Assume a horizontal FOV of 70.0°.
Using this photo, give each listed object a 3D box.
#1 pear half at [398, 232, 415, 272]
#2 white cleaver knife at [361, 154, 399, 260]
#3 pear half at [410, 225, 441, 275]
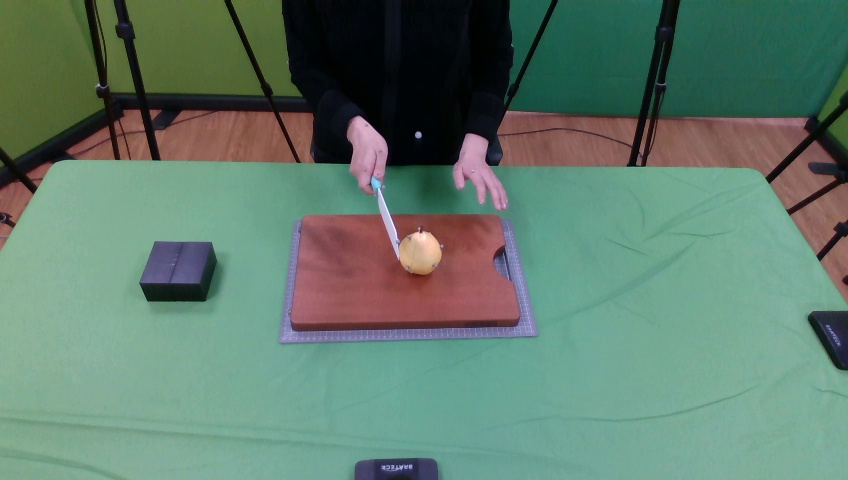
[{"bbox_3d":[-0.031,0.017,1.092,0.031,0.088,0.070,1,51,-2],"label":"pear half"},{"bbox_3d":[-0.080,-0.066,1.069,0.021,0.066,0.284,-9,38,-10],"label":"white cleaver knife"},{"bbox_3d":[0.004,0.013,1.085,0.056,0.110,0.076,2,51,-3],"label":"pear half"}]
